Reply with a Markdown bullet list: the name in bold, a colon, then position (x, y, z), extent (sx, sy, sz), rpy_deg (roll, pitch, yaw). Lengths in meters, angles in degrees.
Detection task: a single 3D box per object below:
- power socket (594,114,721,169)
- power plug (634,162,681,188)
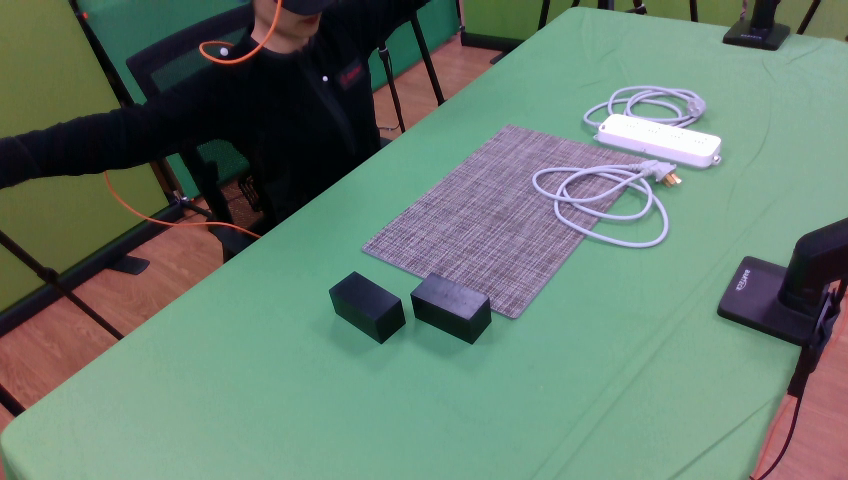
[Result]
- **power socket**: position (0.428, -0.183, 1.109), extent (0.225, 0.033, 0.072), rpy_deg (23, 49, 33)
- **power plug**: position (0.396, -0.102, 1.026), extent (0.072, 0.035, 0.052), rpy_deg (-35, 68, -5)
